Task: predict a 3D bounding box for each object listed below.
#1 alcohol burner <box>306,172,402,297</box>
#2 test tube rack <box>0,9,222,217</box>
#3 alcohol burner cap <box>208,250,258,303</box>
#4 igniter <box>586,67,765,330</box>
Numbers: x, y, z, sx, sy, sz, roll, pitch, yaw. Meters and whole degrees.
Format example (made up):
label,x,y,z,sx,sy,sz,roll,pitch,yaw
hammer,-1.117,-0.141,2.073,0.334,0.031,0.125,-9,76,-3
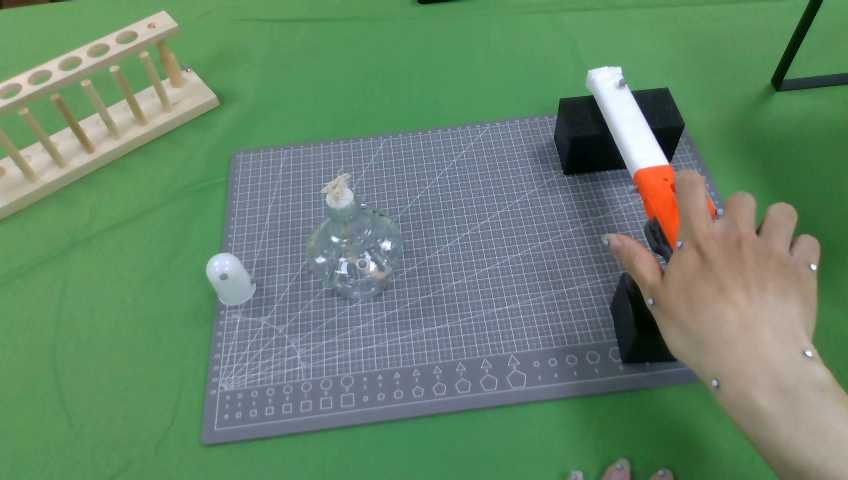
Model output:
label,x,y,z,sx,sy,sz,roll,pitch,yaw
alcohol burner,-0.057,-0.008,0.475,0.078,0.120,0.077,-2,52,3
test tube rack,-0.336,-0.129,0.601,0.242,0.086,0.066,-34,59,-19
alcohol burner cap,-0.160,0.027,0.502,0.034,0.048,0.033,-2,56,4
igniter,0.187,-0.047,0.481,0.057,0.025,0.273,-10,53,-2
